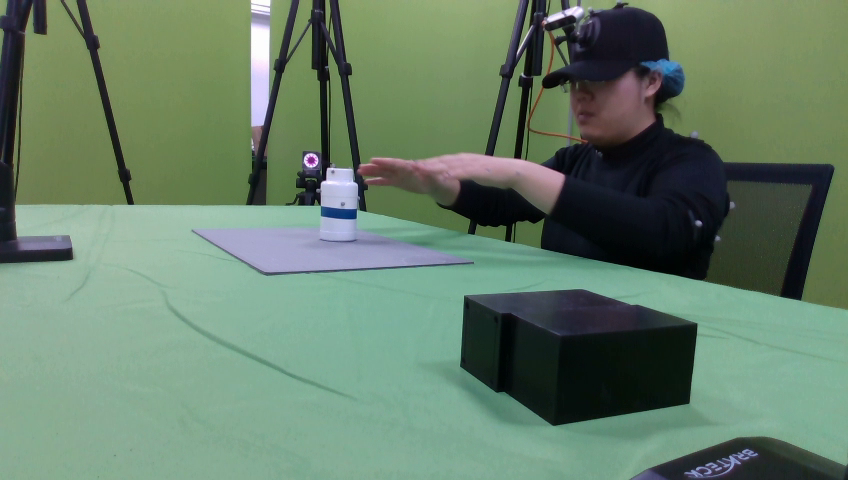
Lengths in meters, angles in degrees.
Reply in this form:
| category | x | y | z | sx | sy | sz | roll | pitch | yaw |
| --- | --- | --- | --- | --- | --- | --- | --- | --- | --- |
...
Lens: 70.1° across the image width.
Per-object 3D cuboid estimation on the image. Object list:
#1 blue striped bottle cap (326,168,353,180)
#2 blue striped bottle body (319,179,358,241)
| category | x | y | z | sx | sy | sz | roll | pitch | yaw |
| --- | --- | --- | --- | --- | --- | --- | --- | --- | --- |
| blue striped bottle cap | -0.141 | -0.111 | 1.011 | 0.044 | 0.020 | 0.044 | 2 | 6 | 0 |
| blue striped bottle body | -0.143 | -0.061 | 1.018 | 0.063 | 0.120 | 0.063 | 2 | 7 | 0 |
